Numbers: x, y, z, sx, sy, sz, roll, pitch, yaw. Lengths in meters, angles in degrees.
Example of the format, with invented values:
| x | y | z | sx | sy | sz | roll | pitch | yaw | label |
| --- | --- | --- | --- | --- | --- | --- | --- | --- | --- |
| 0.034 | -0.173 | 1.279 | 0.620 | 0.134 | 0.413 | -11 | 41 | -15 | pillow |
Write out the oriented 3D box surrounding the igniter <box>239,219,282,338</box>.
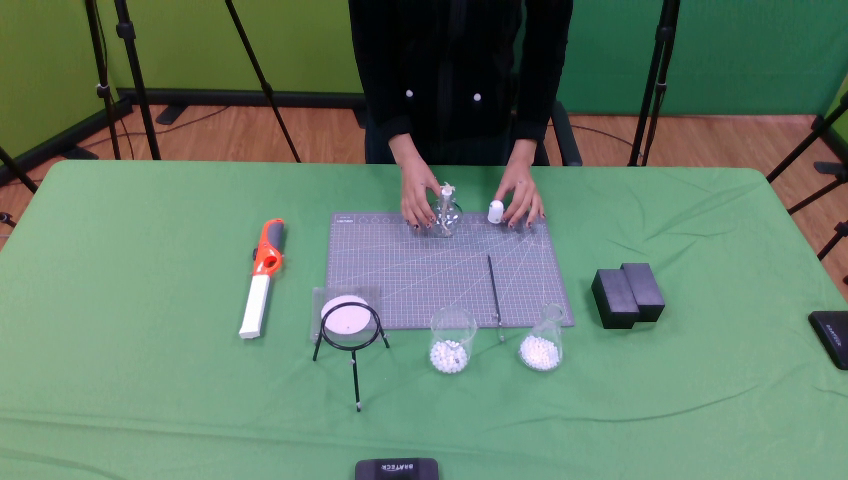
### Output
| x | y | z | sx | sy | sz | roll | pitch | yaw | label |
| --- | --- | --- | --- | --- | --- | --- | --- | --- | --- |
| -0.298 | 0.061 | 1.113 | 0.057 | 0.025 | 0.274 | -6 | 46 | 4 | igniter |

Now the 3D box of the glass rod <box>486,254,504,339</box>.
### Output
| x | y | z | sx | sy | sz | roll | pitch | yaw | label |
| --- | --- | --- | --- | --- | --- | --- | --- | --- | --- |
| 0.129 | 0.099 | 1.119 | 0.008 | 0.008 | 0.198 | -1 | 47 | -4 | glass rod |

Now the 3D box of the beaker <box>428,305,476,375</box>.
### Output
| x | y | z | sx | sy | sz | roll | pitch | yaw | label |
| --- | --- | --- | --- | --- | --- | --- | --- | --- | --- |
| 0.044 | 0.168 | 0.987 | 0.074 | 0.101 | 0.083 | 1 | 47 | -3 | beaker |

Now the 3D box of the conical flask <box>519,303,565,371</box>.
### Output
| x | y | z | sx | sy | sz | roll | pitch | yaw | label |
| --- | --- | --- | --- | --- | --- | --- | --- | --- | --- |
| 0.201 | 0.155 | 0.997 | 0.075 | 0.122 | 0.075 | 2 | 46 | -2 | conical flask |

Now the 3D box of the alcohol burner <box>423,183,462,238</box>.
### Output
| x | y | z | sx | sy | sz | roll | pitch | yaw | label |
| --- | --- | --- | --- | --- | --- | --- | --- | --- | --- |
| 0.039 | -0.063 | 1.197 | 0.078 | 0.119 | 0.077 | 2 | 44 | -2 | alcohol burner |

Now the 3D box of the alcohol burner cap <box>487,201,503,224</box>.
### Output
| x | y | z | sx | sy | sz | roll | pitch | yaw | label |
| --- | --- | --- | --- | --- | --- | --- | --- | --- | --- |
| 0.146 | -0.058 | 1.230 | 0.034 | 0.048 | 0.033 | -1 | 48 | 1 | alcohol burner cap |

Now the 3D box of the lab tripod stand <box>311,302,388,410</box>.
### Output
| x | y | z | sx | sy | sz | roll | pitch | yaw | label |
| --- | --- | --- | --- | --- | --- | --- | --- | --- | --- |
| -0.113 | 0.168 | 0.951 | 0.148 | 0.132 | 0.147 | 2 | 44 | -2 | lab tripod stand |

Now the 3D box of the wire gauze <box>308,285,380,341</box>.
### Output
| x | y | z | sx | sy | sz | roll | pitch | yaw | label |
| --- | --- | --- | --- | --- | --- | --- | --- | --- | --- |
| -0.141 | 0.128 | 1.071 | 0.125 | 0.011 | 0.120 | -1 | 46 | -5 | wire gauze |
